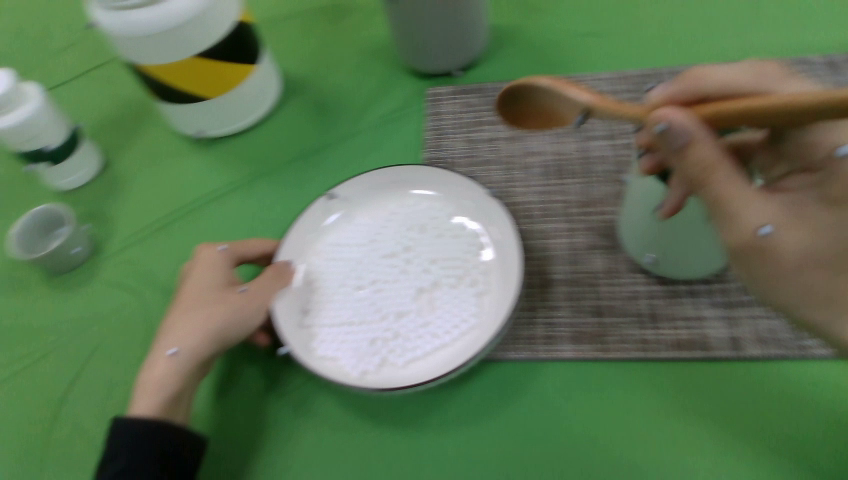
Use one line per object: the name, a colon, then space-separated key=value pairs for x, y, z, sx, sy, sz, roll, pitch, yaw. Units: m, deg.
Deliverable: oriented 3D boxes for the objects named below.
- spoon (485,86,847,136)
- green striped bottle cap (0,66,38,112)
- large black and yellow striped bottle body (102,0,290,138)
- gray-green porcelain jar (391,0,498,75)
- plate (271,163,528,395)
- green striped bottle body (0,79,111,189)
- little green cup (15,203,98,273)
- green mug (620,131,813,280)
spoon: x=0.096 y=-0.057 z=0.277 sx=0.192 sy=0.042 sz=0.021 roll=20 pitch=79 yaw=55
green striped bottle cap: x=-0.382 y=-0.138 z=0.556 sx=0.044 sy=0.020 sz=0.044 roll=-3 pitch=58 yaw=5
large black and yellow striped bottle body: x=-0.223 y=-0.206 z=0.596 sx=0.130 sy=0.186 sz=0.129 roll=-5 pitch=57 yaw=8
gray-green porcelain jar: x=0.020 y=-0.241 z=0.610 sx=0.106 sy=0.128 sz=0.105 roll=-5 pitch=57 yaw=7
plate: x=-0.019 y=0.029 z=0.493 sx=0.209 sy=0.038 sz=0.207 roll=-6 pitch=56 yaw=9
green striped bottle body: x=-0.373 y=-0.109 z=0.599 sx=0.063 sy=0.120 sz=0.062 roll=-5 pitch=56 yaw=8
little green cup: x=-0.344 y=0.000 z=0.572 sx=0.061 sy=0.039 sz=0.061 roll=-5 pitch=55 yaw=8
green mug: x=0.213 y=-0.025 z=0.444 sx=0.124 sy=0.106 sz=0.092 roll=19 pitch=62 yaw=20
